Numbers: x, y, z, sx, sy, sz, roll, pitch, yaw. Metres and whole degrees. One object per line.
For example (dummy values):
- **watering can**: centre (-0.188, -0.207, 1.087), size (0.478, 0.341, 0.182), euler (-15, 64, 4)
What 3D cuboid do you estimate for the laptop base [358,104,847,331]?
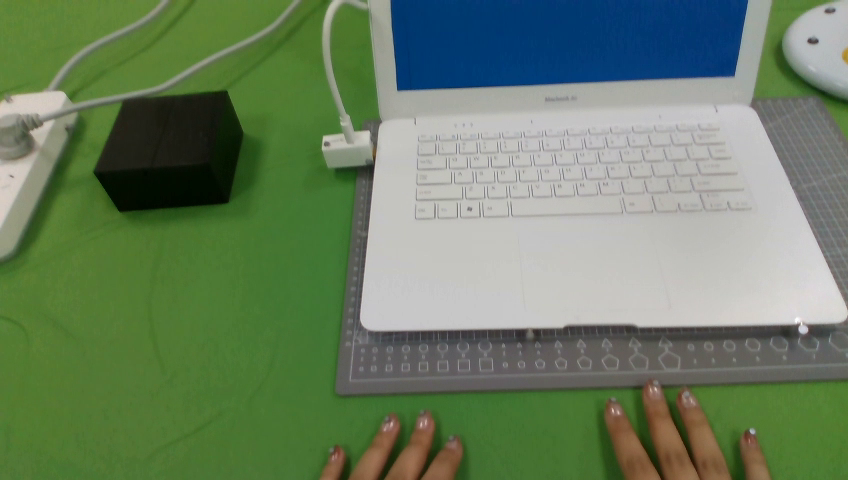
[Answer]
- **laptop base**: centre (0.129, -0.026, 0.512), size (0.354, 0.023, 0.233), euler (-2, 54, 3)

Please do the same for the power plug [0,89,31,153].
- **power plug**: centre (-0.389, -0.113, 0.552), size (0.053, 0.073, 0.035), euler (7, 33, -19)

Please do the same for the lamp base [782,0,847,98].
- **lamp base**: centre (0.452, -0.249, 0.564), size (0.159, 0.182, 0.178), euler (26, 55, 24)

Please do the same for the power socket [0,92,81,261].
- **power socket**: centre (-0.396, -0.066, 0.578), size (0.072, 0.033, 0.224), euler (-4, 50, 0)

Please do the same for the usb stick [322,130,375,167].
- **usb stick**: centre (-0.063, -0.085, 0.560), size (0.059, 0.027, 0.021), euler (-4, 49, 3)

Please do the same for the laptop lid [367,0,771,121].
- **laptop lid**: centre (0.124, -0.220, 0.527), size (0.356, 0.243, 0.013), euler (-3, 30, 4)
